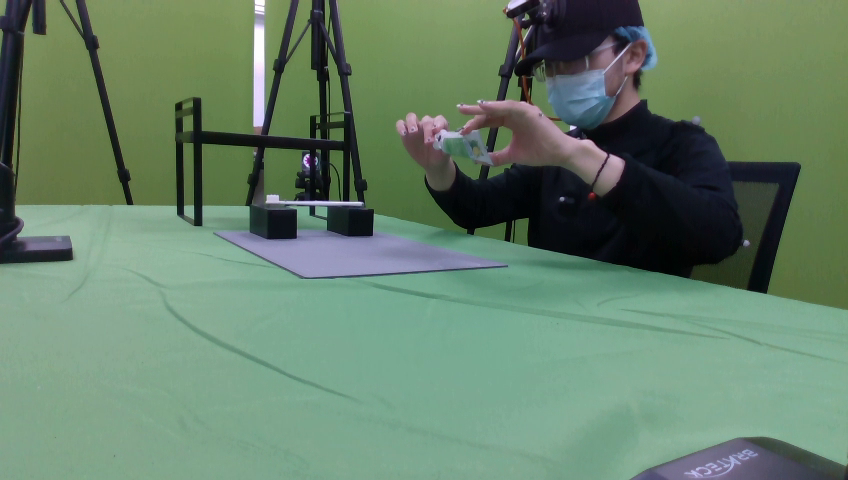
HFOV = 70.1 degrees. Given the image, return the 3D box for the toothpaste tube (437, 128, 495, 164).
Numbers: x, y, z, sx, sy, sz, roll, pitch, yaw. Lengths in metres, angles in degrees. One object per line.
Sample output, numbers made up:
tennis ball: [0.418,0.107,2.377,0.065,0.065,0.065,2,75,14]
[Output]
toothpaste tube: [0.059,-0.145,0.898,0.034,0.055,0.164,-37,22,-9]

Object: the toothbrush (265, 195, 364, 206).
toothbrush: [-0.194,-0.069,1.089,0.183,0.016,0.014,0,-5,-27]

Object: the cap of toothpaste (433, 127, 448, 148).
cap of toothpaste: [0.030,-0.164,0.976,0.011,0.037,0.037,33,24,34]
